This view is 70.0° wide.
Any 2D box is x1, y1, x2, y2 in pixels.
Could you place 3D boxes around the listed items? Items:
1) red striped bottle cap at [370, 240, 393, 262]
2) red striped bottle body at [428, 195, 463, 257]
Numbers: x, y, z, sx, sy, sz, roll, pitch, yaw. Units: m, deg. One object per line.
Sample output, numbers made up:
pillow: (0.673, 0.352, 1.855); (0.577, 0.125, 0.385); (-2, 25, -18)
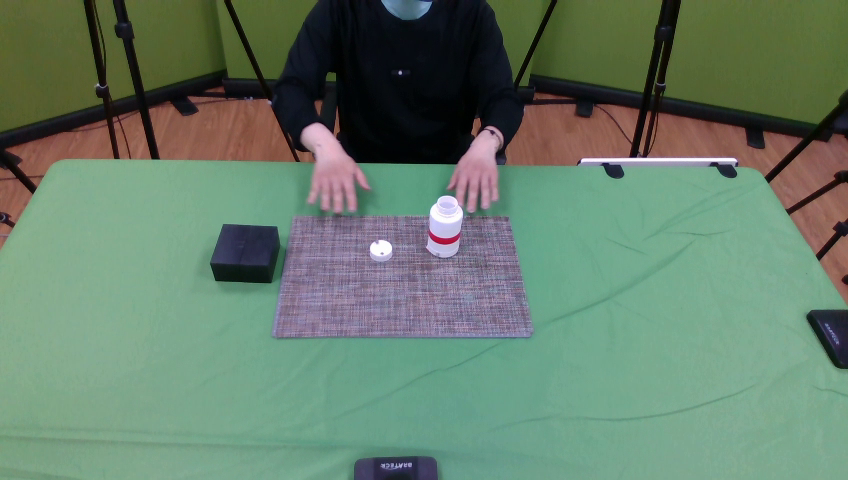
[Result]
red striped bottle cap: (-0.082, 0.020, 1.168); (0.044, 0.018, 0.044); (-2, 47, 3)
red striped bottle body: (0.041, -0.028, 1.152); (0.063, 0.120, 0.062); (2, 45, -2)
